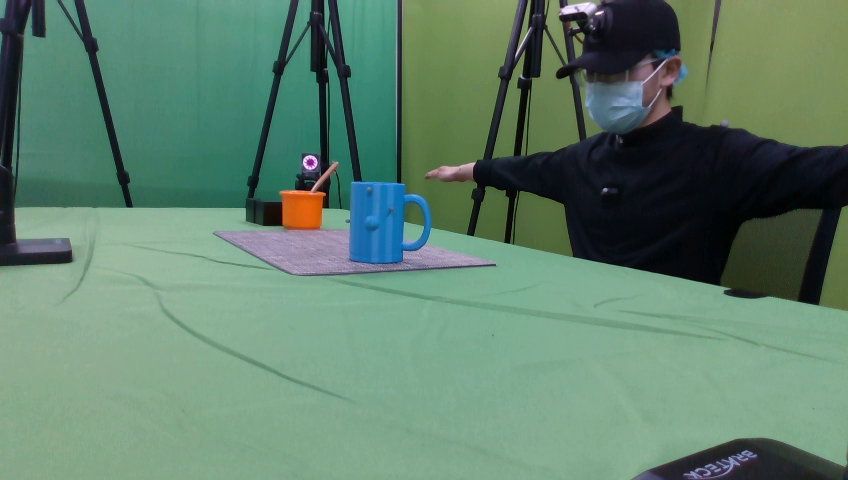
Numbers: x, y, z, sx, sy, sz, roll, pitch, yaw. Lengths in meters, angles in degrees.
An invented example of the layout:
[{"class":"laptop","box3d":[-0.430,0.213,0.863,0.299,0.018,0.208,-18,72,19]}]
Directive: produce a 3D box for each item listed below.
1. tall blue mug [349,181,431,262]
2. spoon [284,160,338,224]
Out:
[{"class":"tall blue mug","box3d":[-0.051,-0.028,0.849,0.108,0.108,0.077,-1,7,-22]},{"class":"spoon","box3d":[-0.228,-0.101,1.251,0.041,0.194,0.022,6,-37,35]}]
